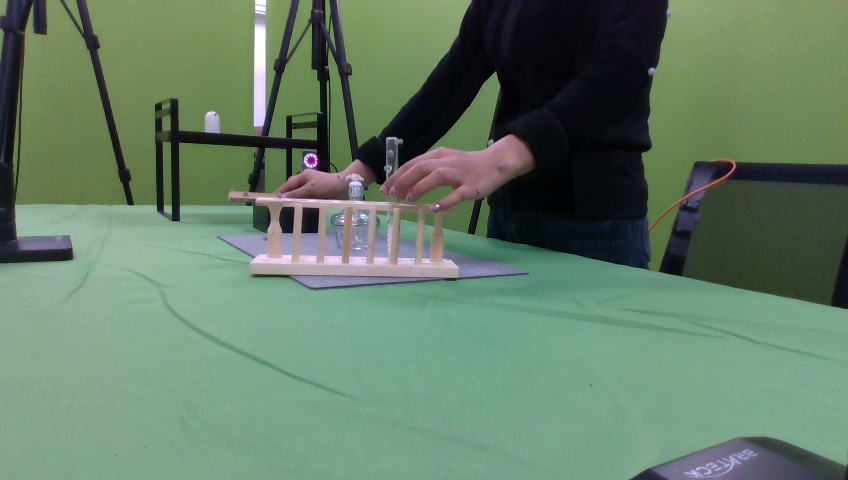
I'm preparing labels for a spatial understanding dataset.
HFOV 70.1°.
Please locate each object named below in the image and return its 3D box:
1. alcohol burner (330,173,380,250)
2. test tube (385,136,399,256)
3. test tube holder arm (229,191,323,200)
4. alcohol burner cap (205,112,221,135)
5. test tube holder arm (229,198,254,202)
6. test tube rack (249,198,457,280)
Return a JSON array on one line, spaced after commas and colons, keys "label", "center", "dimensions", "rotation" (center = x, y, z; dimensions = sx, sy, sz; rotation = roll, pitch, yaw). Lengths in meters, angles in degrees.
[{"label": "alcohol burner", "center": [-0.108, -0.044, 0.938], "dimensions": [0.078, 0.119, 0.078], "rotation": [1, 6, 0]}, {"label": "test tube", "center": [-0.040, -0.053, 0.751], "dimensions": [0.017, 0.150, 0.017], "rotation": [0, 5, 0]}, {"label": "test tube holder arm", "center": [-0.278, -0.082, 1.150], "dimensions": [0.179, 0.015, 0.013], "rotation": [0, -24, -28]}, {"label": "alcohol burner cap", "center": [-0.444, -0.245, 1.270], "dimensions": [0.034, 0.048, 0.034], "rotation": [3, 8, 0]}, {"label": "test tube holder arm", "center": [-0.320, -0.079, 1.133], "dimensions": [0.088, 0.015, 0.010], "rotation": [-1, -24, -27]}, {"label": "test tube rack", "center": [-0.082, -0.002, 0.732], "dimensions": [0.243, 0.085, 0.066], "rotation": [2, 8, -7]}]
